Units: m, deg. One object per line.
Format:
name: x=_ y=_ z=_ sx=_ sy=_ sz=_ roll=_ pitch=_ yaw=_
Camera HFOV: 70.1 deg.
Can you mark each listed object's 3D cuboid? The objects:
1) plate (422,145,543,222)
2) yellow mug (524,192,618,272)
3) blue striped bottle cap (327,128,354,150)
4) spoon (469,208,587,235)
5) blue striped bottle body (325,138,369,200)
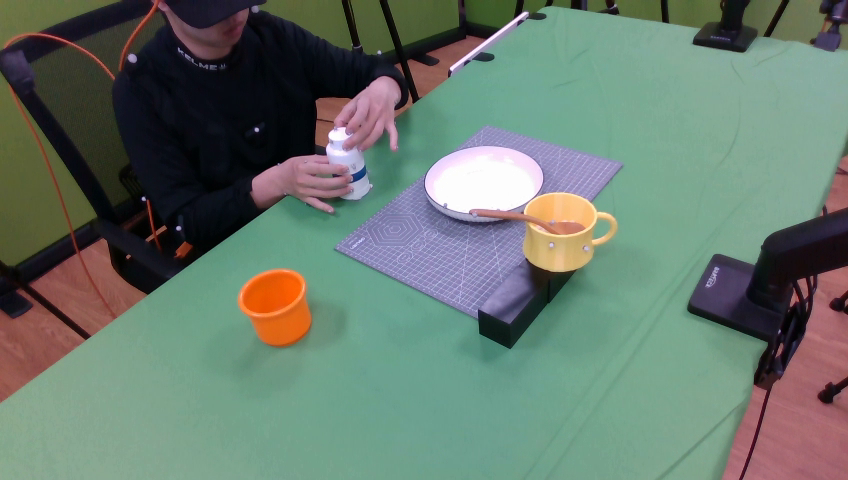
plate: x=0.101 y=-0.094 z=1.048 sx=0.207 sy=0.039 sz=0.206 roll=-4 pitch=41 yaw=4
yellow mug: x=0.206 y=-0.013 z=0.845 sx=0.131 sy=0.064 sz=0.099 roll=-4 pitch=40 yaw=2
blue striped bottle cap: x=-0.143 y=-0.173 z=1.037 sx=0.044 sy=0.021 sz=0.044 roll=-4 pitch=38 yaw=4
spoon: x=0.143 y=-0.026 z=0.817 sx=0.195 sy=0.021 sz=0.041 roll=12 pitch=34 yaw=-29
blue striped bottle body: x=-0.137 y=-0.136 z=1.071 sx=0.063 sy=0.121 sz=0.063 roll=-3 pitch=40 yaw=3
